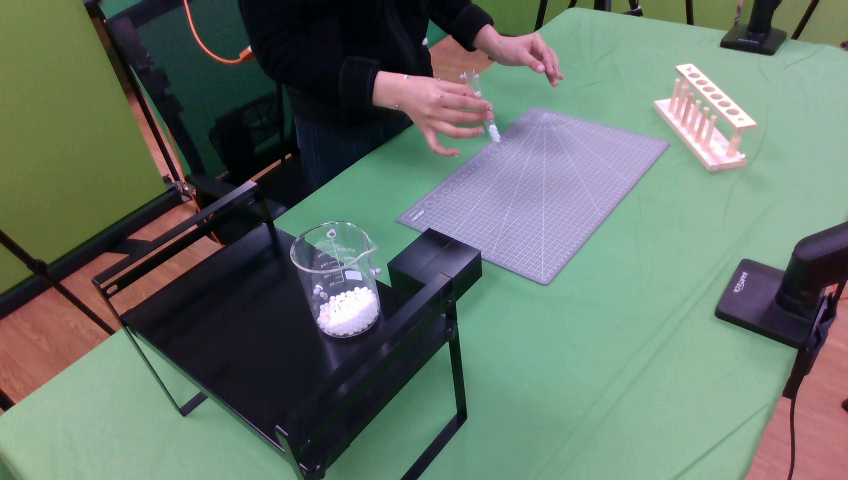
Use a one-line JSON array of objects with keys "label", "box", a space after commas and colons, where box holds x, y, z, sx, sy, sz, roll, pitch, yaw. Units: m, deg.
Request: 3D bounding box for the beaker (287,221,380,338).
[{"label": "beaker", "box": [-0.083, 0.042, 0.602, 0.084, 0.101, 0.073, -5, 41, 3]}]

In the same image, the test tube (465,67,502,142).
[{"label": "test tube", "box": [0.094, -0.206, 0.938, 0.017, 0.151, 0.017, -14, 50, 18]}]

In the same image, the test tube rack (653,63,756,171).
[{"label": "test tube rack", "box": [0.510, -0.233, 1.120, 0.067, 0.085, 0.241, -9, 41, -1]}]
